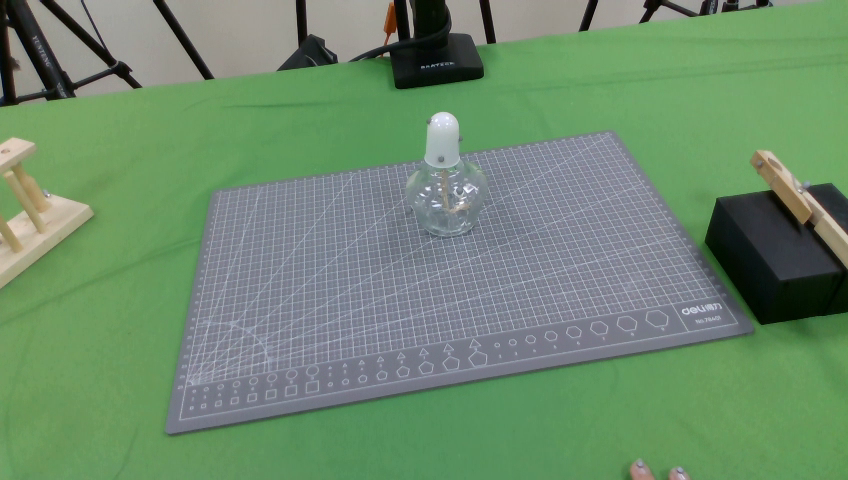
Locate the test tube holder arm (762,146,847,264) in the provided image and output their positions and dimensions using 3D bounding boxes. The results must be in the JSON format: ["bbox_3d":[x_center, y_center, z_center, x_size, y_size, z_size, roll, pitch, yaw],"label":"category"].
[{"bbox_3d":[0.307,-0.019,0.472,0.013,0.015,0.176,-2,43,-8],"label":"test tube holder arm"}]

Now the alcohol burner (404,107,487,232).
[{"bbox_3d":[0.018,-0.067,0.554,0.078,0.120,0.077,-4,41,4],"label":"alcohol burner"}]

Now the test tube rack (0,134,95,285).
[{"bbox_3d":[-0.435,0.007,0.553,0.066,0.086,0.241,15,47,21],"label":"test tube rack"}]

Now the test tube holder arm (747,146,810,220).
[{"bbox_3d":[0.296,-0.049,0.504,0.010,0.015,0.087,-2,43,-7],"label":"test tube holder arm"}]

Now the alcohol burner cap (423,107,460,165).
[{"bbox_3d":[0.016,-0.092,0.529,0.034,0.048,0.033,1,42,0],"label":"alcohol burner cap"}]
